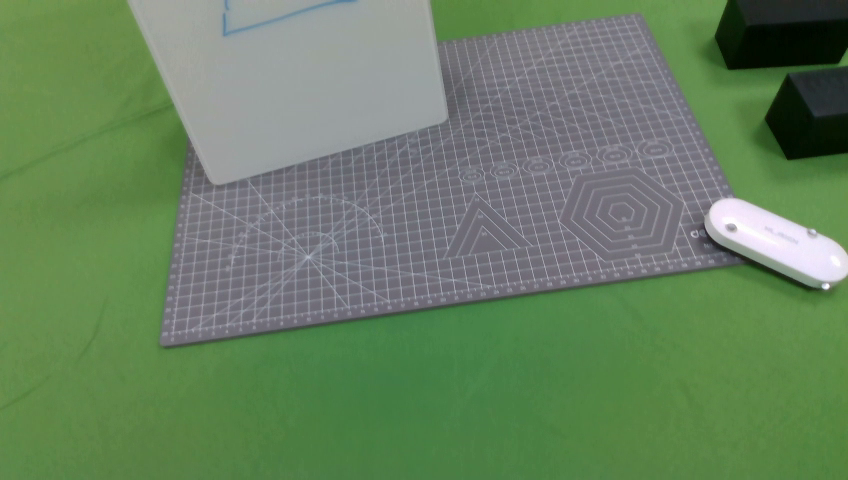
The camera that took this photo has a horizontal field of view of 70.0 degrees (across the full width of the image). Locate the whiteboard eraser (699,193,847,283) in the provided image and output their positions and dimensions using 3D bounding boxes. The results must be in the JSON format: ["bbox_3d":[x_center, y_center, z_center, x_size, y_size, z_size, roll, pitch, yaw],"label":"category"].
[{"bbox_3d":[0.255,-0.002,0.444,0.100,0.019,0.041,28,62,19],"label":"whiteboard eraser"}]

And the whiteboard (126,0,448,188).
[{"bbox_3d":[-0.123,-0.234,0.493,0.217,0.308,0.142,-17,37,-5],"label":"whiteboard"}]
